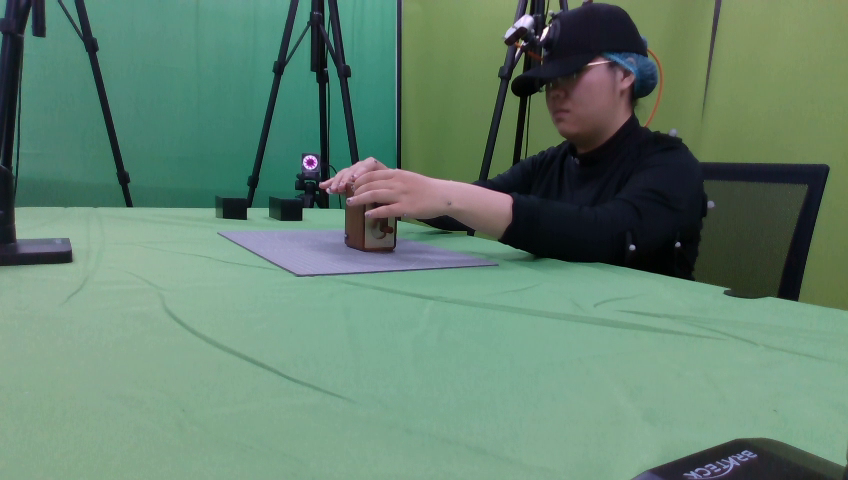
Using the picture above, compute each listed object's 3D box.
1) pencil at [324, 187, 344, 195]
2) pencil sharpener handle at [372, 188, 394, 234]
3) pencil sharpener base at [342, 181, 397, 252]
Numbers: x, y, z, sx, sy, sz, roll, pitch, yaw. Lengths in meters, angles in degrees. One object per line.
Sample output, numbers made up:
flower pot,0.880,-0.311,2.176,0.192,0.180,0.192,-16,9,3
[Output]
pencil,-0.127,-0.077,1.020,0.012,0.012,0.193,-2,10,-33
pencil sharpener handle,-0.056,-0.043,0.913,0.036,0.067,0.030,-4,10,-33
pencil sharpener base,-0.085,-0.038,0.957,0.062,0.107,0.076,-2,9,-34
